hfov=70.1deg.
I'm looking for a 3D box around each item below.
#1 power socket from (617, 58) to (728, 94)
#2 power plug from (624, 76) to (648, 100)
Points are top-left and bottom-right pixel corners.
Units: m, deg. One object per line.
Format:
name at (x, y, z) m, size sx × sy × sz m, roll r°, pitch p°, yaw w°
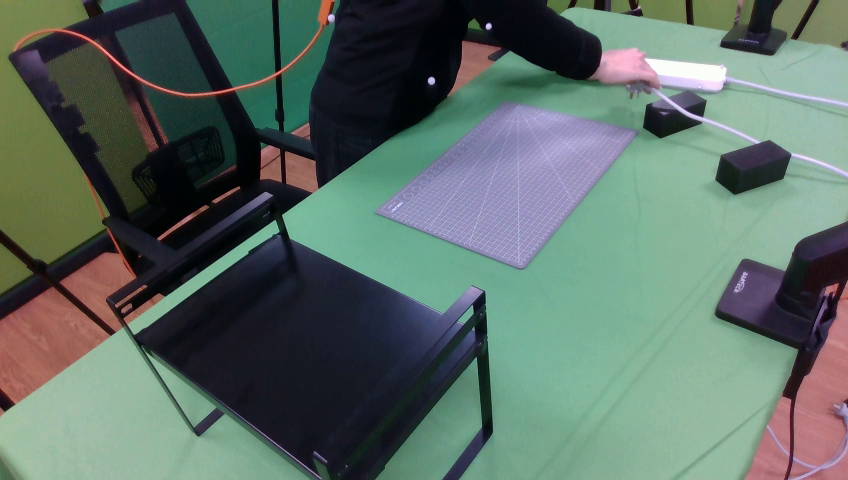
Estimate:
power socket at (0.532, -0.355, 1.301) m, size 0.225 × 0.033 × 0.072 m, roll 15°, pitch 46°, yaw 23°
power plug at (0.419, -0.294, 1.200) m, size 0.035 × 0.053 × 0.072 m, roll 1°, pitch 43°, yaw 9°
